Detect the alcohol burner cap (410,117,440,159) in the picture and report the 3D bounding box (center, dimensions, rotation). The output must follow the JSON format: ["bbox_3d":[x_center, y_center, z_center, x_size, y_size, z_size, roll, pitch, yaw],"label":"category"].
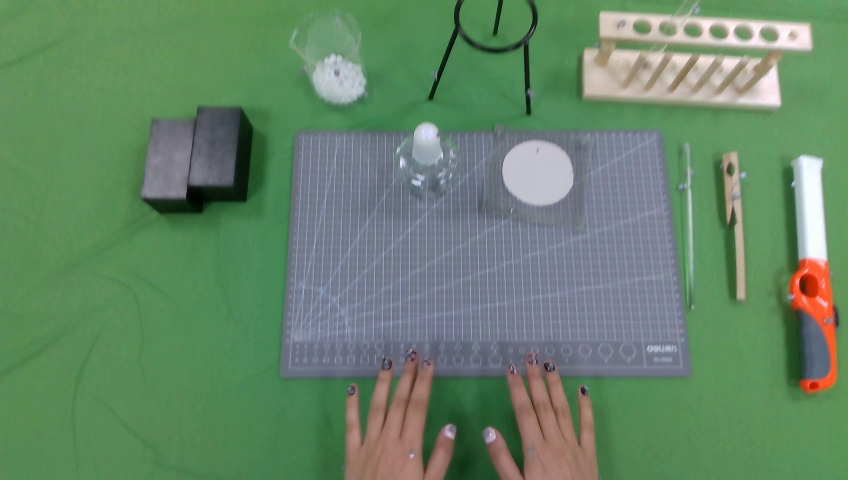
[{"bbox_3d":[0.001,-0.110,0.638,0.034,0.048,0.033,0,68,-1],"label":"alcohol burner cap"}]

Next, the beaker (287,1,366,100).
[{"bbox_3d":[-0.110,-0.217,0.715,0.084,0.101,0.073,-8,74,-2],"label":"beaker"}]

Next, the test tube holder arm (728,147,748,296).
[{"bbox_3d":[0.364,-0.023,0.704,0.013,0.015,0.177,-9,71,34],"label":"test tube holder arm"}]

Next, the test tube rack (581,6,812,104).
[{"bbox_3d":[0.319,-0.219,0.726,0.242,0.085,0.066,3,74,1],"label":"test tube rack"}]

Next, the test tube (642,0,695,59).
[{"bbox_3d":[0.282,-0.252,0.683,0.017,0.151,0.017,1,72,-4],"label":"test tube"}]

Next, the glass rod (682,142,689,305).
[{"bbox_3d":[0.307,-0.022,0.710,0.008,0.008,0.199,5,77,1],"label":"glass rod"}]

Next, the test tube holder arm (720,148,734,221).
[{"bbox_3d":[0.361,-0.066,0.719,0.010,0.015,0.087,-8,72,35],"label":"test tube holder arm"}]

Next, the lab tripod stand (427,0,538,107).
[{"bbox_3d":[0.073,-0.226,0.701,0.148,0.132,0.147,0,76,0],"label":"lab tripod stand"}]

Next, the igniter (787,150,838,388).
[{"bbox_3d":[0.438,0.029,0.687,0.057,0.025,0.275,10,74,-9],"label":"igniter"}]

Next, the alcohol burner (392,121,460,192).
[{"bbox_3d":[0.002,-0.099,0.672,0.078,0.120,0.077,0,74,2],"label":"alcohol burner"}]

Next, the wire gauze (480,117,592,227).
[{"bbox_3d":[0.135,-0.084,0.724,0.125,0.011,0.121,11,76,2],"label":"wire gauze"}]
